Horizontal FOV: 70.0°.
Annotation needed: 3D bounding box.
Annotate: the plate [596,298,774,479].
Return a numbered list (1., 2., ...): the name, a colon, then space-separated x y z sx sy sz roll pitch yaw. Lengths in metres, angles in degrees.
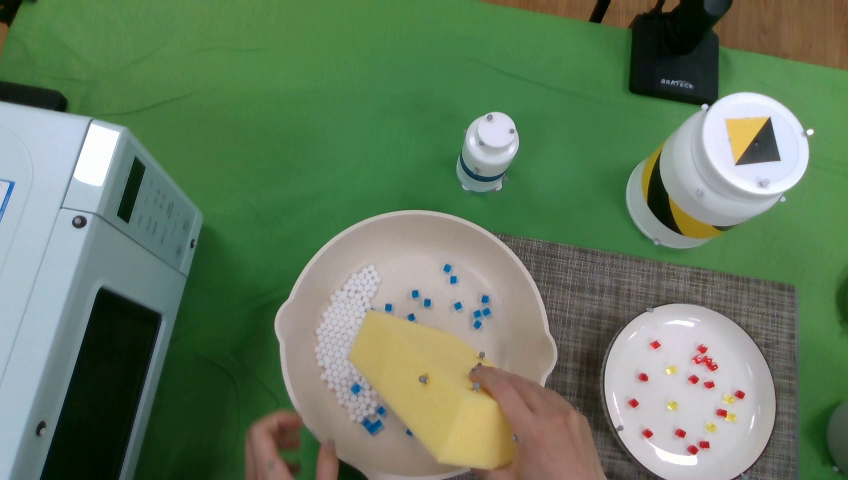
1. plate: 0.300 0.173 0.710 0.209 0.038 0.208 1 76 -4

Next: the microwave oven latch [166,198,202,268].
1. microwave oven latch: -0.277 -0.010 0.690 0.030 0.029 0.079 13 76 -2

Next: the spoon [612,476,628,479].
1. spoon: 0.268 0.345 0.674 0.041 0.022 0.193 -36 82 -30

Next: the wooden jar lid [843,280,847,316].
1. wooden jar lid: 0.585 0.080 0.773 0.108 0.021 0.108 1 77 -4

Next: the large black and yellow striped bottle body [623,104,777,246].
1. large black and yellow striped bottle body: 0.327 -0.077 0.705 0.131 0.184 0.130 1 75 -4

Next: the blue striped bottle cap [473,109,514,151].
1. blue striped bottle cap: 0.077 -0.122 0.673 0.044 0.021 0.044 1 72 -3

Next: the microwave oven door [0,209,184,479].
1. microwave oven door: -0.309 0.172 0.536 0.039 0.244 0.354 10 75 -2

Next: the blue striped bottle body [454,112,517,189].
1. blue striped bottle body: 0.074 -0.110 0.723 0.063 0.121 0.062 1 75 -4

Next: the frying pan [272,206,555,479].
1. frying pan: -0.025 0.204 0.642 0.307 0.103 0.484 9 67 0

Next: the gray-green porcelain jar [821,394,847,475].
1. gray-green porcelain jar: 0.527 0.222 0.676 0.106 0.127 0.105 1 75 -5

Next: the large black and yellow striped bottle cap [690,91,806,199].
1. large black and yellow striped bottle cap: 0.333 -0.099 0.622 0.115 0.019 0.114 1 74 -4

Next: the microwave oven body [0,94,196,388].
1. microwave oven body: -0.445 0.107 0.546 0.326 0.261 0.439 10 76 -3

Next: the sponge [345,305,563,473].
1. sponge: 0.019 0.139 0.594 0.119 0.205 0.061 21 94 -33
